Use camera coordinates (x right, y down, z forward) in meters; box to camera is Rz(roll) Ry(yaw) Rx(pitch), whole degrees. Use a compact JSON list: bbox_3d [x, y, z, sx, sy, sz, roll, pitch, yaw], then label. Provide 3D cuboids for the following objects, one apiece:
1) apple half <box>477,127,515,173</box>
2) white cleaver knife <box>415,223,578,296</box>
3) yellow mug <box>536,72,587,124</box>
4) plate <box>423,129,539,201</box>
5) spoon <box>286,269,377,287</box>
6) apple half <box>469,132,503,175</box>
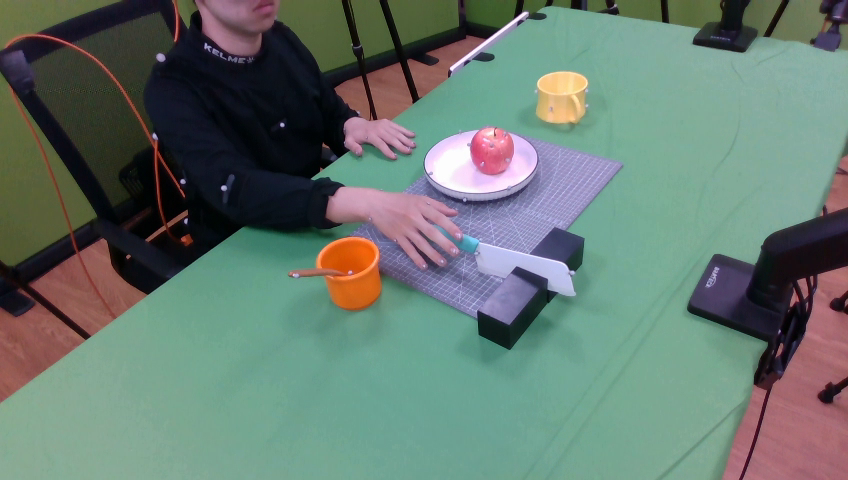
[{"bbox_3d":[0.132,-0.164,1.085,0.053,0.075,0.080,-28,41,-28],"label":"apple half"},{"bbox_3d":[0.093,0.028,0.881,0.284,0.066,0.021,17,44,40],"label":"white cleaver knife"},{"bbox_3d":[0.284,-0.281,1.222,0.100,0.064,0.130,-16,42,-10],"label":"yellow mug"},{"bbox_3d":[0.103,-0.132,1.092,0.209,0.038,0.208,-4,40,4],"label":"plate"},{"bbox_3d":[-0.125,0.049,0.831,0.041,0.195,0.021,22,92,28],"label":"spoon"},{"bbox_3d":[0.102,-0.146,1.067,0.033,0.081,0.080,-28,44,-29],"label":"apple half"}]
